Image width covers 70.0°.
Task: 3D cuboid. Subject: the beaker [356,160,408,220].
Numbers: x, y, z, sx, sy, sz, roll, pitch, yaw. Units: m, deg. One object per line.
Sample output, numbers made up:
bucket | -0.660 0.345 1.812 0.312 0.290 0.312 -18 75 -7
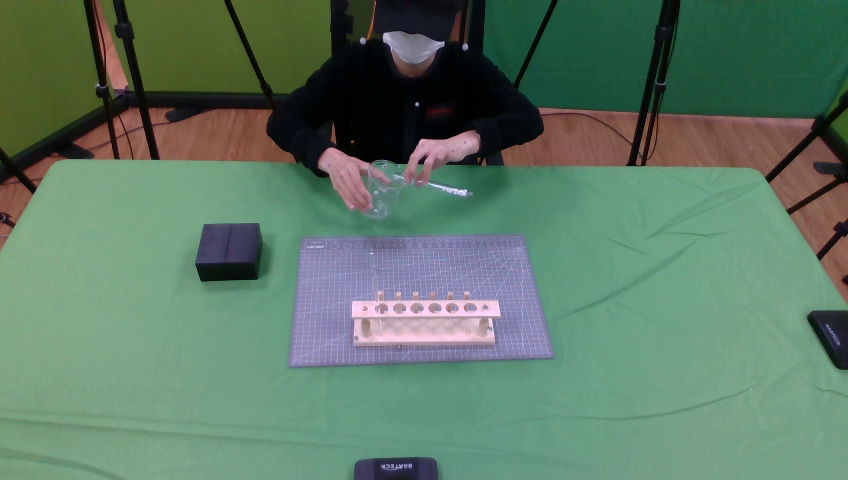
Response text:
beaker | -0.084 -0.093 1.165 0.084 0.100 0.073 16 48 -12

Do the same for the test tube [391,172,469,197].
test tube | 0.010 -0.102 1.110 0.150 0.017 0.017 15 46 15

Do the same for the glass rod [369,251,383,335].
glass rod | -0.075 0.090 0.965 0.008 0.201 0.008 -1 44 1

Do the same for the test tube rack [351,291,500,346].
test tube rack | 0.000 0.129 1.026 0.242 0.085 0.066 0 46 -4
